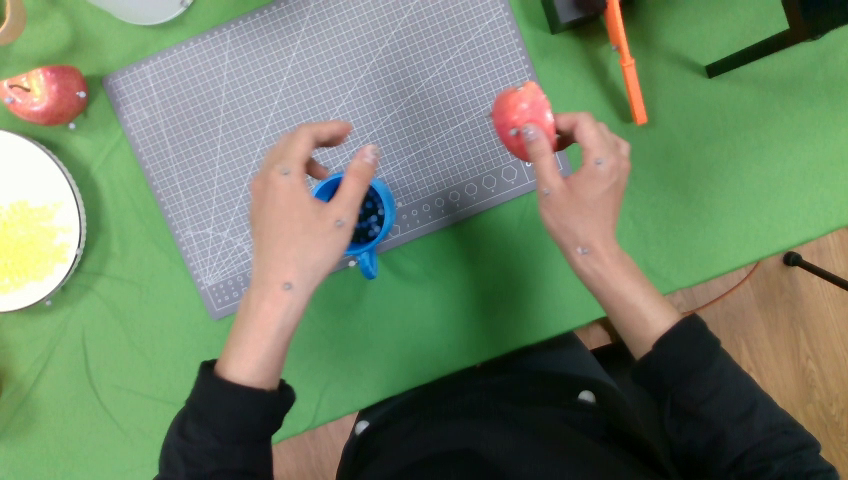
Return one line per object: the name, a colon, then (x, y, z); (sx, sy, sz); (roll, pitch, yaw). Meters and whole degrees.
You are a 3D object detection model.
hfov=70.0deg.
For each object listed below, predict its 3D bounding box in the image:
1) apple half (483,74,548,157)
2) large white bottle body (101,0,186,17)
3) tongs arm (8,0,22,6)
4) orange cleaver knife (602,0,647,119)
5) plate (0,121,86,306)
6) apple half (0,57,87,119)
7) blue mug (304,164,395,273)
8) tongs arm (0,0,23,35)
apple half: (0.075, -0.106, 0.541); (0.033, 0.081, 0.081); (-27, 96, -19)
large white bottle body: (-0.304, -0.300, 0.572); (0.130, 0.184, 0.131); (0, 96, 1)
tongs arm: (-0.593, -0.321, 0.614); (0.388, 0.028, 0.028); (21, 90, 0)
orange cleaver knife: (0.200, -0.227, 0.631); (0.012, 0.076, 0.213); (-20, 123, 11)
plate: (-0.480, -0.031, 0.678); (0.209, 0.038, 0.209); (0, 97, 1)
apple half: (-0.400, -0.157, 0.646); (0.081, 0.074, 0.053); (-18, 100, -1)
blue mug: (-0.071, -0.022, 0.642); (0.082, 0.105, 0.117); (-14, 96, 2)
tongs arm: (-0.609, -0.239, 0.621); (0.385, 0.026, 0.051); (7, 93, 1)
